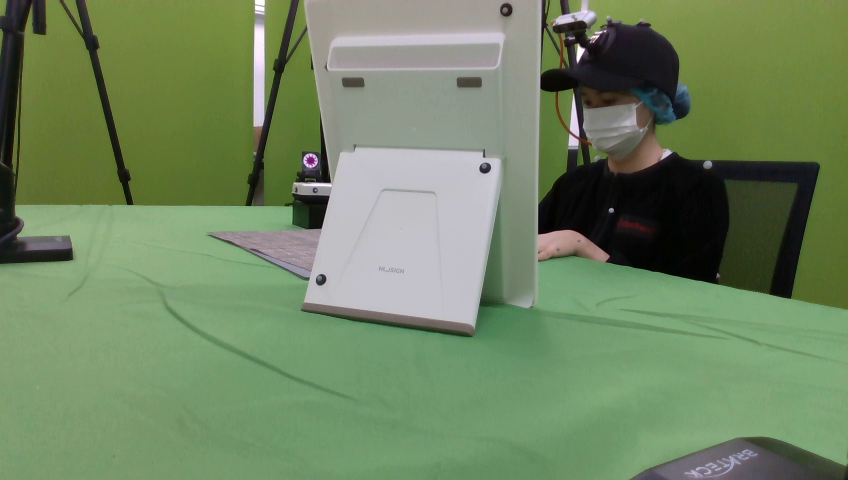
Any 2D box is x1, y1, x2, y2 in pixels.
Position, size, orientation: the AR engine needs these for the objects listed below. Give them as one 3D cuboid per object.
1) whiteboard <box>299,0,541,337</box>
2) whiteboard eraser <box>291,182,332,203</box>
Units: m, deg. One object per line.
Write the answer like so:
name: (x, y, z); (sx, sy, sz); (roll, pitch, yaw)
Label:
whiteboard: (-0.021, -0.050, 0.523); (0.216, 0.305, 0.144); (6, 27, 20)
whiteboard eraser: (-0.209, -0.097, 1.234); (0.113, 0.042, 0.055); (-2, 7, -35)
